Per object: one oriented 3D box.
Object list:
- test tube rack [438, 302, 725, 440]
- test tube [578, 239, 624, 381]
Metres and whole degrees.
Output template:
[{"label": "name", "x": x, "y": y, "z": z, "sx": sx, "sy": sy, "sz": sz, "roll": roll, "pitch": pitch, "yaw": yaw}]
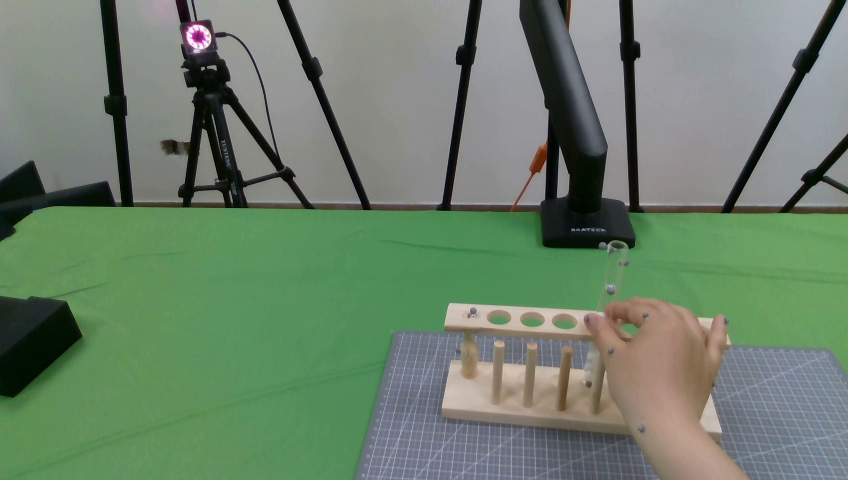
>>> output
[{"label": "test tube rack", "x": 0.136, "y": 0.116, "z": 0.548, "sx": 0.242, "sy": 0.086, "sz": 0.066, "roll": 2, "pitch": 32, "yaw": 9}, {"label": "test tube", "x": 0.154, "y": 0.066, "z": 0.532, "sx": 0.017, "sy": 0.151, "sz": 0.017, "roll": 1, "pitch": 31, "yaw": 0}]
